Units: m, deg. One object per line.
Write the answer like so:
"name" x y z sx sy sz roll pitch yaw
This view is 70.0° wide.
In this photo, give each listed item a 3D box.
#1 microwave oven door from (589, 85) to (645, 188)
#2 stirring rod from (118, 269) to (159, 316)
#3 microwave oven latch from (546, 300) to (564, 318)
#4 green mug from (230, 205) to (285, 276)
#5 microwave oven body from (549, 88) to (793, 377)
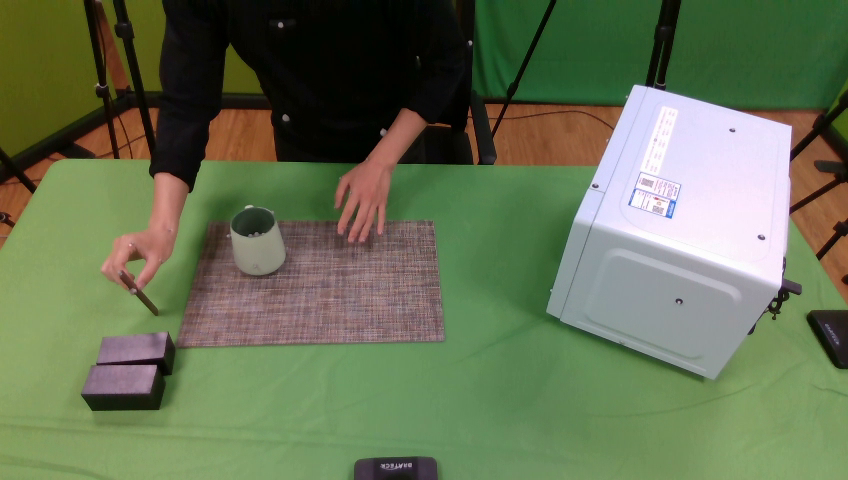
"microwave oven door" 0.342 -0.107 1.148 0.039 0.245 0.354 20 48 15
"stirring rod" -0.456 0.088 0.975 0.006 0.177 0.014 -8 64 -9
"microwave oven latch" 0.242 0.102 1.081 0.030 0.029 0.079 21 48 17
"green mug" -0.311 -0.008 1.118 0.092 0.105 0.124 -14 48 -16
"microwave oven body" 0.456 -0.028 1.087 0.325 0.261 0.440 20 47 16
